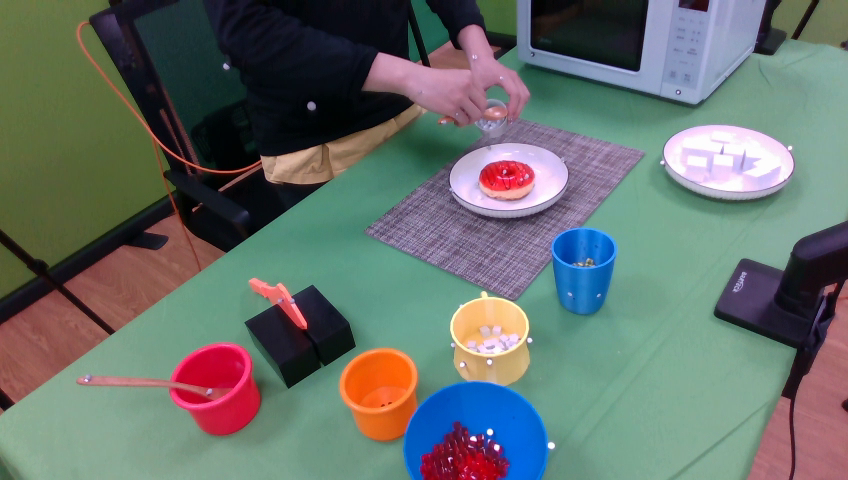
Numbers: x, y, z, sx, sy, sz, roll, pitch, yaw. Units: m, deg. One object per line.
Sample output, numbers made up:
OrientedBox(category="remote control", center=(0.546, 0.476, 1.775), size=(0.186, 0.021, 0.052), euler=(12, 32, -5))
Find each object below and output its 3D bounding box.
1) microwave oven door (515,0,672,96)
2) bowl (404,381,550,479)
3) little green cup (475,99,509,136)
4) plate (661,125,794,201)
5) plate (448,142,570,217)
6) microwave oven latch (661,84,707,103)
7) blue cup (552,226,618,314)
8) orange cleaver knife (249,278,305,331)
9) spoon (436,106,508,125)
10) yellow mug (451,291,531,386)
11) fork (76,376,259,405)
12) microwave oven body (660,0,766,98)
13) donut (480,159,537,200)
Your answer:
OrientedBox(category="microwave oven door", center=(0.344, -0.455, 1.260), size=(0.353, 0.245, 0.039), euler=(26, 51, 33))
OrientedBox(category="bowl", center=(0.058, 0.235, 0.645), size=(0.151, 0.077, 0.150), euler=(-4, 39, 4))
OrientedBox(category="little green cup", center=(0.121, -0.215, 1.072), size=(0.061, 0.039, 0.061), euler=(-1, 82, 8))
OrientedBox(category="plate", center=(0.514, -0.128, 1.035), size=(0.207, 0.039, 0.206), euler=(-4, 40, 4))
OrientedBox(category="plate", center=(0.148, -0.101, 1.053), size=(0.209, 0.038, 0.208), euler=(-4, 40, 4))
OrientedBox(category="microwave oven latch", center=(0.517, -0.296, 1.204), size=(0.078, 0.029, 0.030), euler=(26, 52, 34))
OrientedBox(category="blue cup", center=(0.218, 0.047, 0.826), size=(0.092, 0.101, 0.092), euler=(-6, 40, 5))
OrientedBox(category="orange cleaver knife", center=(-0.210, 0.088, 0.856), size=(0.012, 0.077, 0.210), euler=(-28, 15, -25))
OrientedBox(category="spoon", center=(0.078, -0.203, 0.981), size=(0.041, 0.021, 0.195), euler=(26, 27, 31))
OrientedBox(category="yellow mug", center=(0.085, 0.120, 0.786), size=(0.100, 0.064, 0.130), euler=(-7, 39, 1))
OrientedBox(category="fork", center=(-0.295, 0.176, 0.716), size=(0.209, 0.018, 0.028), euler=(19, 26, -36))
OrientedBox(category="microwave oven body", center=(0.473, -0.513, 1.317), size=(0.438, 0.261, 0.327), euler=(26, 51, 34))
OrientedBox(category="donut", center=(0.146, -0.106, 1.042), size=(0.099, 0.048, 0.098), euler=(-5, 38, 4))
